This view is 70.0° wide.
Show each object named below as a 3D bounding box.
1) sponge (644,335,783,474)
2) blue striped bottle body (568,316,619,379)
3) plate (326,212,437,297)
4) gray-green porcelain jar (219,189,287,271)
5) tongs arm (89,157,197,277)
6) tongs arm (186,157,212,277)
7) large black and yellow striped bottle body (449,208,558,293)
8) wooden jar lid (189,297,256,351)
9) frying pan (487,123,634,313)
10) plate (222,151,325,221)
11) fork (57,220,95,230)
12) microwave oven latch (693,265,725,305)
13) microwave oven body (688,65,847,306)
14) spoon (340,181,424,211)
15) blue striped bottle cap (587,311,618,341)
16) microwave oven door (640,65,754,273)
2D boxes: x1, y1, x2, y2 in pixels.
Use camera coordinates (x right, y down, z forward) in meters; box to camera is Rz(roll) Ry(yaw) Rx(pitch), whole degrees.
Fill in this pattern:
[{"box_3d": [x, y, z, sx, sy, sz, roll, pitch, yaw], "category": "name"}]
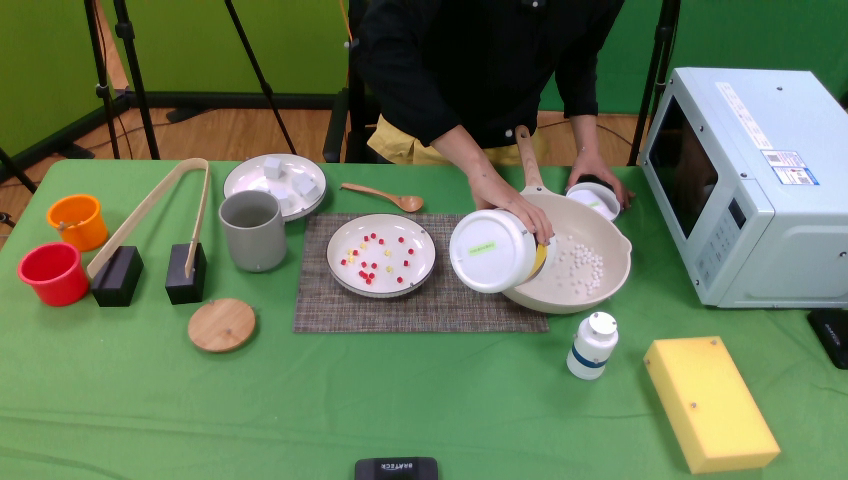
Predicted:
[{"box_3d": [0.448, 0.253, 0.956, 0.118, 0.061, 0.205, -3, 47, -8], "category": "sponge"}, {"box_3d": [0.277, 0.169, 0.984, 0.063, 0.121, 0.062, 2, 46, -2], "category": "blue striped bottle body"}, {"box_3d": [-0.080, 0.030, 1.143, 0.209, 0.038, 0.208, 2, 46, -2], "category": "plate"}, {"box_3d": [-0.310, -0.014, 1.113, 0.106, 0.127, 0.105, 2, 46, -2], "category": "gray-green porcelain jar"}, {"box_3d": [-0.530, -0.058, 1.163, 0.028, 0.028, 0.385, 1, 36, 7], "category": "tongs arm"}, {"box_3d": [-0.445, -0.058, 1.168, 0.051, 0.026, 0.382, -4, 37, -6], "category": "tongs arm"}, {"box_3d": [0.139, 0.012, 1.000, 0.130, 0.131, 0.184, 34, 20, 25], "category": "large black and yellow striped bottle body"}, {"box_3d": [-0.342, 0.145, 1.033, 0.108, 0.021, 0.107, 2, 45, -2], "category": "wooden jar lid"}, {"box_3d": [0.235, -0.060, 1.208, 0.307, 0.103, 0.484, 2, 54, -6], "category": "frying pan"}, {"box_3d": [-0.310, -0.106, 1.262, 0.208, 0.039, 0.206, 2, 47, -2], "category": "plate"}, {"box_3d": [-0.624, -0.027, 1.087, 0.028, 0.207, 0.018, -3, 92, -17], "category": "fork"}, {"box_3d": [0.523, 0.082, 1.116, 0.030, 0.029, 0.078, 2, 46, -1], "category": "microwave oven latch"}, {"box_3d": [0.669, -0.111, 1.176, 0.326, 0.261, 0.439, 0, 46, -3], "category": "microwave oven body"}, {"box_3d": [-0.090, -0.100, 1.282, 0.193, 0.022, 0.041, 18, 65, 13], "category": "spoon"}, {"box_3d": [0.279, 0.134, 0.947, 0.044, 0.021, 0.044, 2, 45, -2], "category": "blue striped bottle cap"}, {"box_3d": [0.523, -0.147, 1.193, 0.039, 0.245, 0.353, 0, 47, -3], "category": "microwave oven door"}]
